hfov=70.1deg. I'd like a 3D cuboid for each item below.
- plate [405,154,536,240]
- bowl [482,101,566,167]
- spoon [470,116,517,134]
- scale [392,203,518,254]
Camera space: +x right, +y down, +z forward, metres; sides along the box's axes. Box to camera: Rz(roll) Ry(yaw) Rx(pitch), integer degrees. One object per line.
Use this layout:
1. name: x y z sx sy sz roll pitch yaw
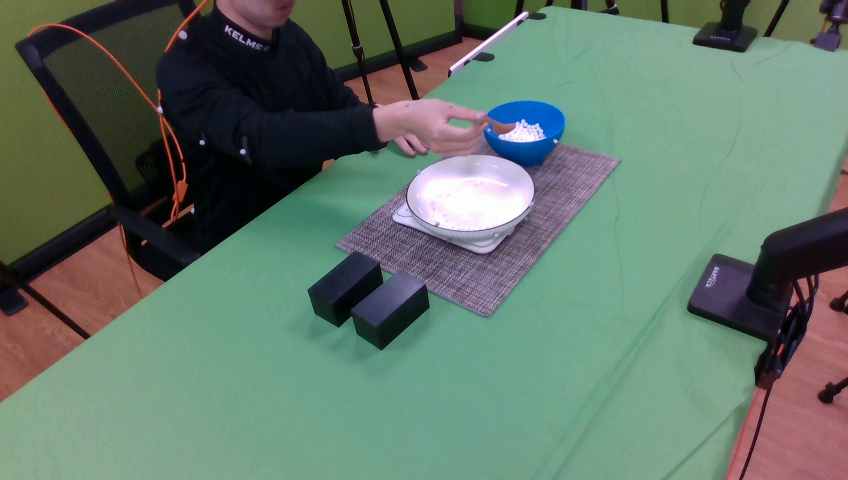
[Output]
1. plate: 0.075 -0.067 0.973 0.209 0.038 0.208 -4 41 4
2. bowl: 0.183 -0.186 1.111 0.151 0.077 0.150 -4 40 4
3. spoon: 0.107 -0.185 0.960 0.041 0.021 0.195 -7 0 25
4. scale: 0.060 -0.050 1.006 0.199 0.032 0.149 22 48 30
